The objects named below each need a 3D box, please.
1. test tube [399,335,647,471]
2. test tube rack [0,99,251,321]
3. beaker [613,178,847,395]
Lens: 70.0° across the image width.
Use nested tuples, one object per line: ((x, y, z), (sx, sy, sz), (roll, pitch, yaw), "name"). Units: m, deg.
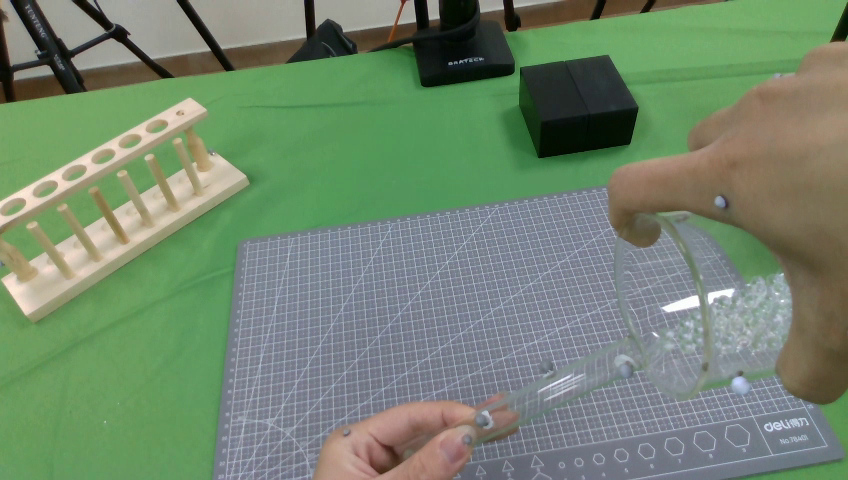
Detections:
((0.042, 0.086, 0.303), (0.150, 0.017, 0.017), (-35, 41, 28), "test tube")
((-0.300, -0.036, 0.597), (0.066, 0.086, 0.242), (35, 60, 31), "test tube rack")
((0.137, 0.017, 0.242), (0.100, 0.085, 0.073), (-10, 54, -4), "beaker")
